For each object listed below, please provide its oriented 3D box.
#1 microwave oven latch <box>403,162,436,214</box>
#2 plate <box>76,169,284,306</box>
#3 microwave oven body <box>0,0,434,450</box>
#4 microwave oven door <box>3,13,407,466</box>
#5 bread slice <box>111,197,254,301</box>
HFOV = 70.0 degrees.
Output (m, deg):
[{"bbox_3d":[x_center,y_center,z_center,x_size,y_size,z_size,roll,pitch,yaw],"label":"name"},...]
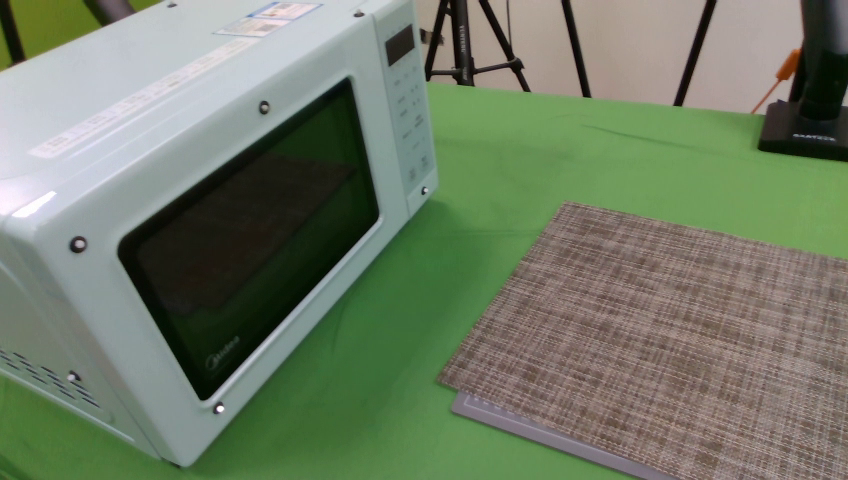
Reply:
[{"bbox_3d":[-0.013,-0.065,0.732,0.030,0.030,0.079,14,44,27],"label":"microwave oven latch"},{"bbox_3d":[-0.244,-0.003,0.626,0.209,0.038,0.207,-6,38,5],"label":"plate"},{"bbox_3d":[-0.240,-0.066,0.621,0.324,0.263,0.440,14,44,26],"label":"microwave oven body"},{"bbox_3d":[-0.133,-0.017,0.526,0.039,0.246,0.354,13,43,27],"label":"microwave oven door"},{"bbox_3d":[-0.247,-0.001,0.631,0.104,0.019,0.131,22,51,33],"label":"bread slice"}]
